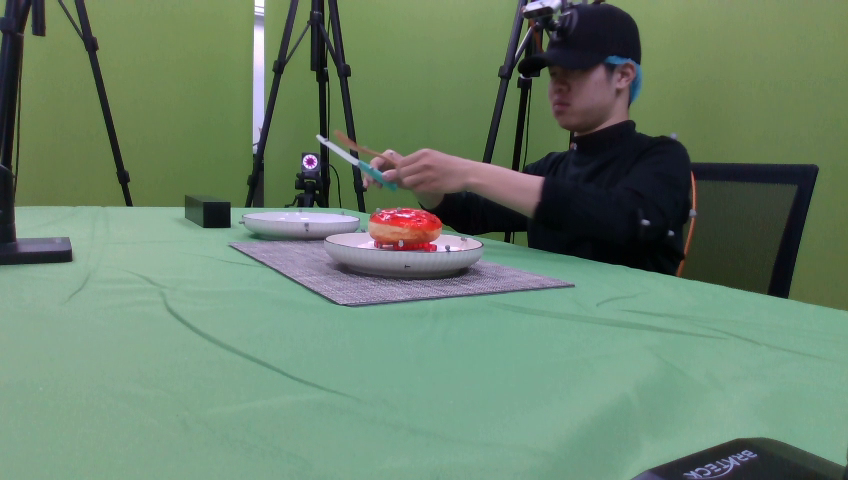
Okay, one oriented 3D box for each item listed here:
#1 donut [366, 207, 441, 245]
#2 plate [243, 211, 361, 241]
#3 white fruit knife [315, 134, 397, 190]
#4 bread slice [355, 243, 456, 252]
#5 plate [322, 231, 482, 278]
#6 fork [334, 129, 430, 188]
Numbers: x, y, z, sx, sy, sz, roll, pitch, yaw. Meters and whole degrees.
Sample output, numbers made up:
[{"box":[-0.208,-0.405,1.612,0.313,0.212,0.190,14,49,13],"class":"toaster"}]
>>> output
[{"box":[-0.027,-0.017,0.786,0.099,0.048,0.099,2,7,0],"class":"donut"},{"box":[-0.219,-0.025,1.092,0.208,0.039,0.207,3,7,0],"class":"plate"},{"box":[-0.123,-0.144,1.135,0.027,0.016,0.208,-3,-25,45],"class":"white fruit knife"},{"box":[-0.027,0.020,0.794,0.131,0.019,0.105,6,7,17],"class":"bread slice"},{"box":[-0.028,0.018,0.789,0.209,0.038,0.209,3,7,0],"class":"plate"},{"box":[-0.073,-0.143,1.088,0.208,0.018,0.028,25,27,-23],"class":"fork"}]
